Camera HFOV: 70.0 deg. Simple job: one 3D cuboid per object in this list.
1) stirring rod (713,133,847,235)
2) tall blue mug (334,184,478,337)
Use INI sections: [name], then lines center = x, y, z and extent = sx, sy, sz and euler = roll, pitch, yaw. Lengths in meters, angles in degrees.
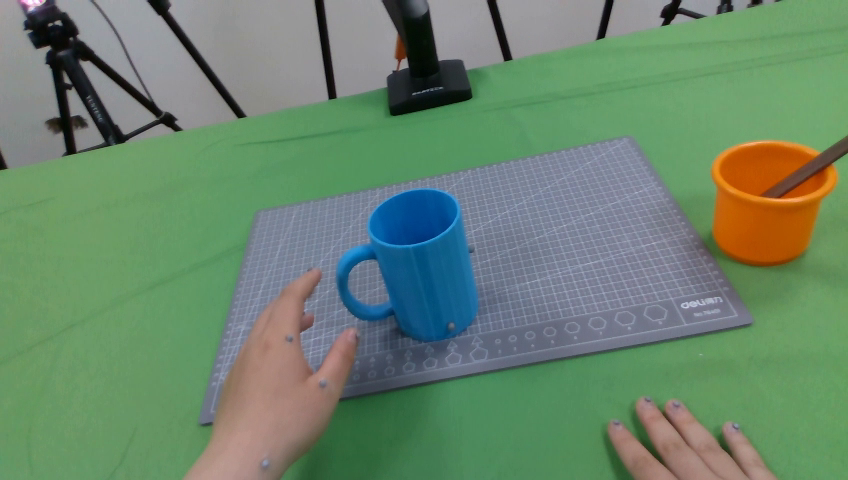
[stirring rod]
center = 0.312, -0.058, 0.491
extent = 0.176, 0.006, 0.014
euler = -44, 27, 34
[tall blue mug]
center = -0.011, 0.026, 0.503
extent = 0.107, 0.109, 0.077
euler = -37, 45, -25
